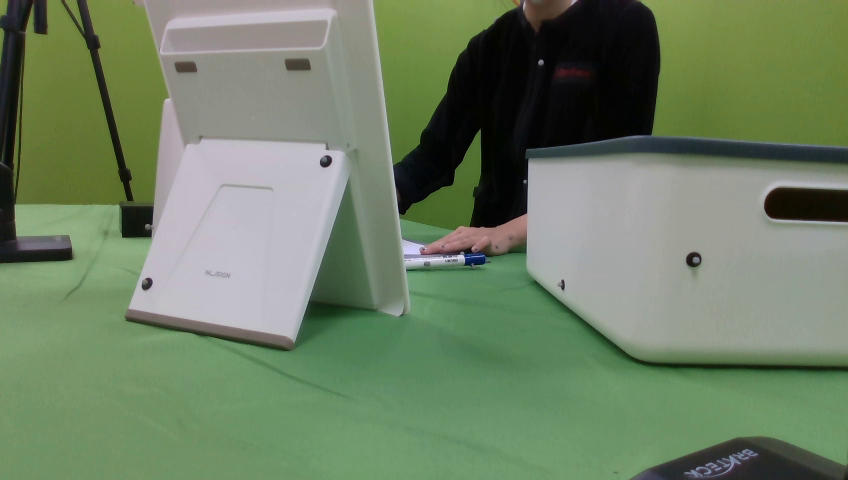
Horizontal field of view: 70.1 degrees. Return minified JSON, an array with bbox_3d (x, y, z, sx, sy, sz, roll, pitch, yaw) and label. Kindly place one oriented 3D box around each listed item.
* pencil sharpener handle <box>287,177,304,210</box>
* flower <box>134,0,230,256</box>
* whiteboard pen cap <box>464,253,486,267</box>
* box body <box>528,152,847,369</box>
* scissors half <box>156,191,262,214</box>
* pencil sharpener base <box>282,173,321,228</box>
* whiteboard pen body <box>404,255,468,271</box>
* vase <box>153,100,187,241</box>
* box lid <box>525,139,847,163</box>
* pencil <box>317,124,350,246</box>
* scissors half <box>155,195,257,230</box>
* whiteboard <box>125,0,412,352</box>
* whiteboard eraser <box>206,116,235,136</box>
[{"bbox_3d":[-0.269,-0.096,1.257,0.036,0.067,0.030,-8,8,-27],"label":"pencil sharpener handle"},{"bbox_3d":[-0.282,-0.147,0.713,0.038,0.362,0.044,-23,24,-31],"label":"flower"},{"bbox_3d":[0.066,0.027,0.818,0.033,0.018,0.018,-5,10,-24],"label":"whiteboard pen cap"},{"bbox_3d":[0.258,-0.005,0.591,0.254,0.160,0.363,2,7,-4],"label":"box body"},{"bbox_3d":[-0.371,-0.068,1.051,0.176,0.040,0.013,2,26,-24],"label":"scissors half"},{"bbox_3d":[-0.247,-0.080,1.212,0.061,0.107,0.076,-2,5,-28],"label":"pencil sharpener base"},{"bbox_3d":[0.013,0.030,0.792,0.141,0.017,0.017,-3,9,-24],"label":"whiteboard pen body"},{"bbox_3d":[-0.278,-0.066,0.736,0.098,0.200,0.098,2,9,0],"label":"vase"},{"bbox_3d":[0.261,-0.078,0.580,0.264,0.015,0.371,2,7,-4],"label":"box lid"},{"bbox_3d":[-0.138,-0.084,0.935,0.012,0.194,0.012,-13,6,2],"label":"pencil"},{"bbox_3d":[-0.378,-0.051,1.059,0.176,0.040,0.012,20,23,-31],"label":"scissors half"},{"bbox_3d":[-0.151,-0.049,0.472,0.216,0.305,0.144,6,27,24],"label":"whiteboard"},{"bbox_3d":[-0.450,-0.252,1.335,0.056,0.042,0.112,1,7,-22],"label":"whiteboard eraser"}]
